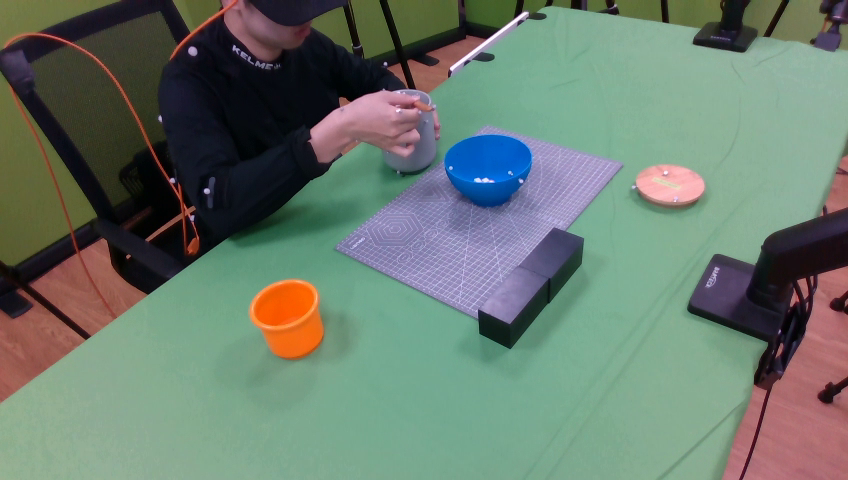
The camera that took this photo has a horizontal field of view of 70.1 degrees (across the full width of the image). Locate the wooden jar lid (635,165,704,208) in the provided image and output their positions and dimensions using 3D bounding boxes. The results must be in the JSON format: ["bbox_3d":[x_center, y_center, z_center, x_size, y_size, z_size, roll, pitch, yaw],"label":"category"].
[{"bbox_3d":[0.411,-0.089,1.014,0.108,0.021,0.108,-5,41,5],"label":"wooden jar lid"}]

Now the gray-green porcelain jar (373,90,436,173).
[{"bbox_3d":[-0.034,-0.198,1.126,0.106,0.127,0.105,-4,40,4],"label":"gray-green porcelain jar"}]

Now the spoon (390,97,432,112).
[{"bbox_3d":[-0.021,-0.228,1.013,0.042,0.022,0.192,-17,17,-11],"label":"spoon"}]

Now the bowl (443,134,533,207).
[{"bbox_3d":[0.111,-0.109,1.033,0.151,0.077,0.150,-4,40,4],"label":"bowl"}]
